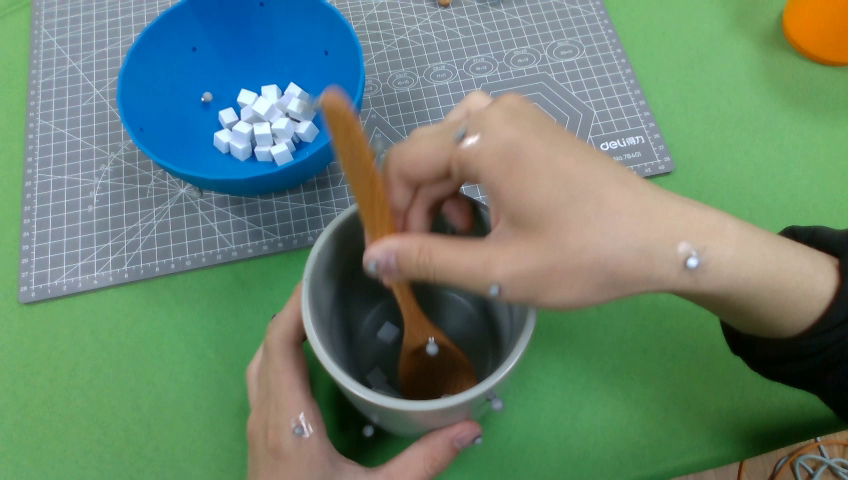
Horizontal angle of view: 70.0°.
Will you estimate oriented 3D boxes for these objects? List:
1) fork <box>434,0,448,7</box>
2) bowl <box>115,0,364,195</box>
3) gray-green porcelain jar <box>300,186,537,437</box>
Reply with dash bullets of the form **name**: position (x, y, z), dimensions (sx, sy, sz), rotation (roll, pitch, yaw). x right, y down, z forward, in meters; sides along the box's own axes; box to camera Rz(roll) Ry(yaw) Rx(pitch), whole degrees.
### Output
- **fork**: position (-0.012, -0.288, 0.488), dimensions (0.028, 0.018, 0.207), rotation (-14, 86, -11)
- **bowl**: position (-0.111, -0.086, 0.402), dimensions (0.151, 0.077, 0.150), rotation (0, 67, 1)
- **gray-green porcelain jar**: position (-0.001, 0.047, 0.322), dimensions (0.106, 0.127, 0.105), rotation (0, 66, 1)
